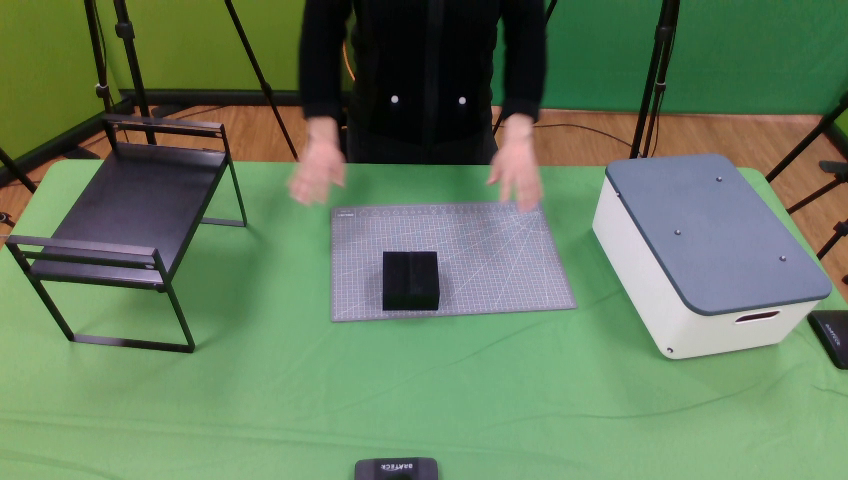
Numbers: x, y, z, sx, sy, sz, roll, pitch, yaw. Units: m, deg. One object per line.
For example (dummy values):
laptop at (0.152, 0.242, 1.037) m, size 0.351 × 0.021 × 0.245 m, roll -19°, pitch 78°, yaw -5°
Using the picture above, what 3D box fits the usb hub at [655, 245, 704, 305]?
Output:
usb hub at (0.481, 0.065, 1.148) m, size 0.049 × 0.025 × 0.124 m, roll -1°, pitch 53°, yaw -8°

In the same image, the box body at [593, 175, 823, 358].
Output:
box body at (0.497, 0.023, 1.112) m, size 0.254 × 0.161 × 0.361 m, roll -7°, pitch 47°, yaw -10°

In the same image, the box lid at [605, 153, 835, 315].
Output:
box lid at (0.499, -0.030, 1.060) m, size 0.264 × 0.015 × 0.369 m, roll -6°, pitch 47°, yaw -10°
